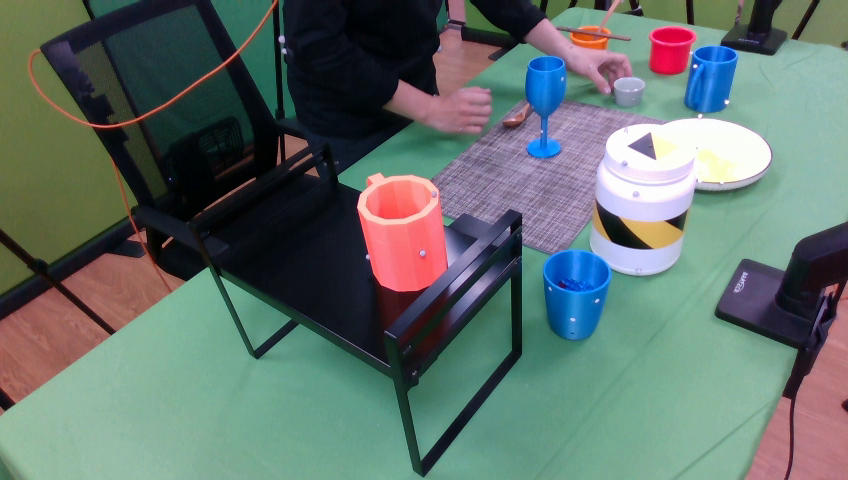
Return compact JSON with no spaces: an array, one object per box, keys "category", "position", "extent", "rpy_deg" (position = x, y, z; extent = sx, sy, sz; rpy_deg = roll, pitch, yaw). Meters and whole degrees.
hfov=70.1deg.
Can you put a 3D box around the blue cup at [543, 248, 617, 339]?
[{"category":"blue cup","position":[0.199,0.076,0.797],"extent":[0.092,0.100,0.092],"rpy_deg":[-4,39,4]}]

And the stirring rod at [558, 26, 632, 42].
[{"category":"stirring rod","position":[0.381,-0.462,1.356],"extent":[0.175,0.006,0.014],"rpy_deg":[22,48,30]}]

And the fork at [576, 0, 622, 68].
[{"category":"fork","position":[0.409,-0.484,1.381],"extent":[0.028,0.019,0.207],"rpy_deg":[37,101,46]}]

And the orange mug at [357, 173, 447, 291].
[{"category":"orange mug","position":[-0.029,-0.018,0.669],"extent":[0.084,0.101,0.125],"rpy_deg":[-23,46,-16]}]

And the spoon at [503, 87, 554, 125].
[{"category":"spoon","position":[0.227,-0.284,1.269],"extent":[0.041,0.022,0.194],"rpy_deg":[3,37,44]}]

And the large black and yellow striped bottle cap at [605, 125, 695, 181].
[{"category":"large black and yellow striped bottle cap","position":[0.304,-0.120,0.817],"extent":[0.115,0.019,0.114],"rpy_deg":[-3,41,3]}]

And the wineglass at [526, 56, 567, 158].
[{"category":"wineglass","position":[0.222,-0.241,1.102],"extent":[0.074,0.173,0.073],"rpy_deg":[-5,41,5]}]

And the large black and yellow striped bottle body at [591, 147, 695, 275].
[{"category":"large black and yellow striped bottle body","position":[0.313,-0.056,0.870],"extent":[0.131,0.185,0.130],"rpy_deg":[-4,40,4]}]

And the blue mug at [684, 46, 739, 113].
[{"category":"blue mug","position":[0.556,-0.310,1.190],"extent":[0.117,0.106,0.081],"rpy_deg":[-32,46,-25]}]

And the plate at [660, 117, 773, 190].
[{"category":"plate","position":[0.495,-0.148,1.063],"extent":[0.209,0.038,0.208],"rpy_deg":[-5,40,4]}]

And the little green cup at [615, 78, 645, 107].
[{"category":"little green cup","position":[0.426,-0.306,1.256],"extent":[0.061,0.039,0.061],"rpy_deg":[-4,39,4]}]
